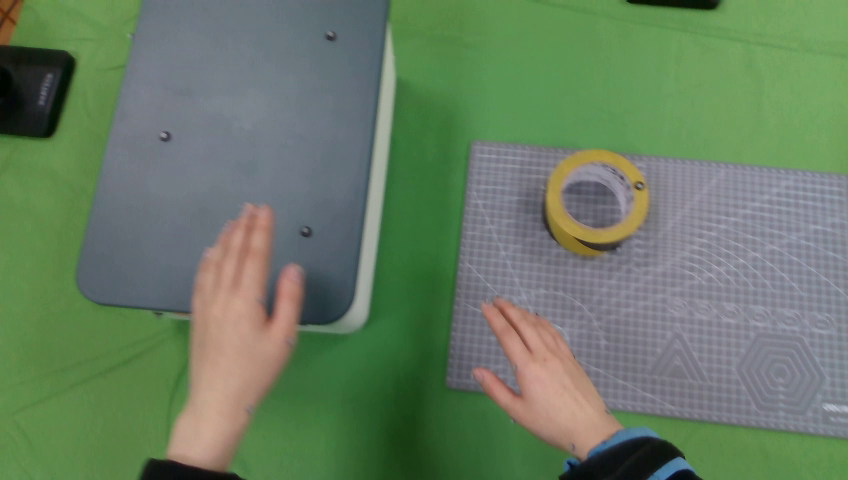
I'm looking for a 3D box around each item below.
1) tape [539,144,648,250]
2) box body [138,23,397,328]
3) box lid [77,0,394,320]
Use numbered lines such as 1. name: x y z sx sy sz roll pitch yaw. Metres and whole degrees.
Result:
1. tape: 0.193 -0.048 0.690 0.117 0.053 0.116 -1 75 3
2. box body: -0.173 -0.092 0.665 0.254 0.161 0.362 5 75 4
3. box lid: -0.176 -0.114 0.594 0.263 0.015 0.369 5 76 4
